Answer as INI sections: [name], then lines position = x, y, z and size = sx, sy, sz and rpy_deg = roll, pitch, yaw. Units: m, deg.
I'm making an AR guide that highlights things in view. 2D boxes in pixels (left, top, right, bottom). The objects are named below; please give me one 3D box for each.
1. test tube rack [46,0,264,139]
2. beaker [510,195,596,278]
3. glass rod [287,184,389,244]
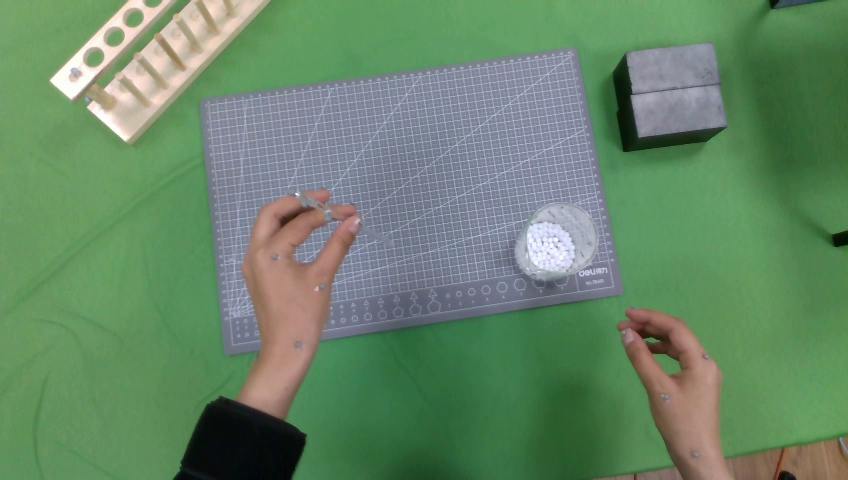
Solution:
[test tube rack]
position = -0.289, -0.235, 0.678
size = 0.066, 0.085, 0.242
rpy_deg = 40, 83, 6
[beaker]
position = 0.130, 0.004, 0.641
size = 0.074, 0.100, 0.084
rpy_deg = 44, 84, 6
[glass rod]
position = -0.066, -0.018, 0.520
size = 0.008, 0.201, 0.008
rpy_deg = -3, 78, 16
